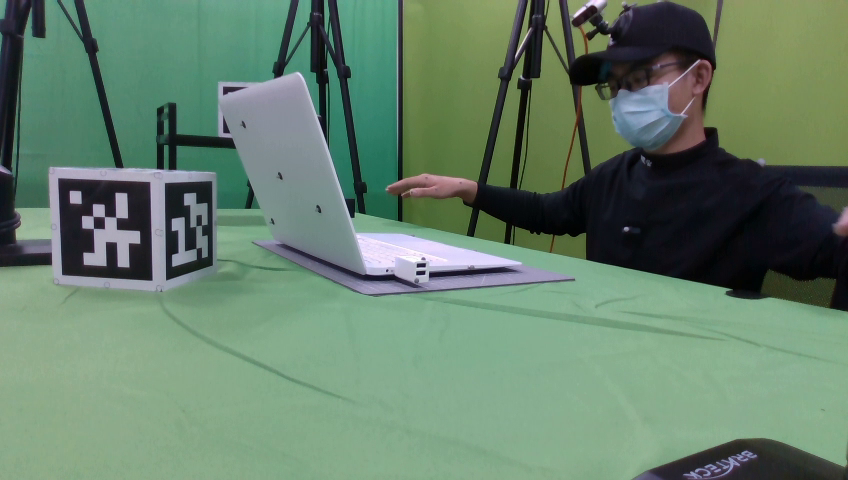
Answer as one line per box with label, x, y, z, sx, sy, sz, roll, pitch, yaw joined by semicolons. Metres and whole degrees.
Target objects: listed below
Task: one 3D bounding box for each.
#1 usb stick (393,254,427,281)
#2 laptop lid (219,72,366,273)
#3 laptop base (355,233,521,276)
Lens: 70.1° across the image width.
usb stick;-0.020;0.030;0.694;0.021;0.027;0.059;-4;5;-31
laptop lid;-0.189;-0.087;0.801;0.013;0.242;0.355;-26;21;-26
laptop base;-0.056;0.017;0.898;0.237;0.023;0.352;2;6;-32
